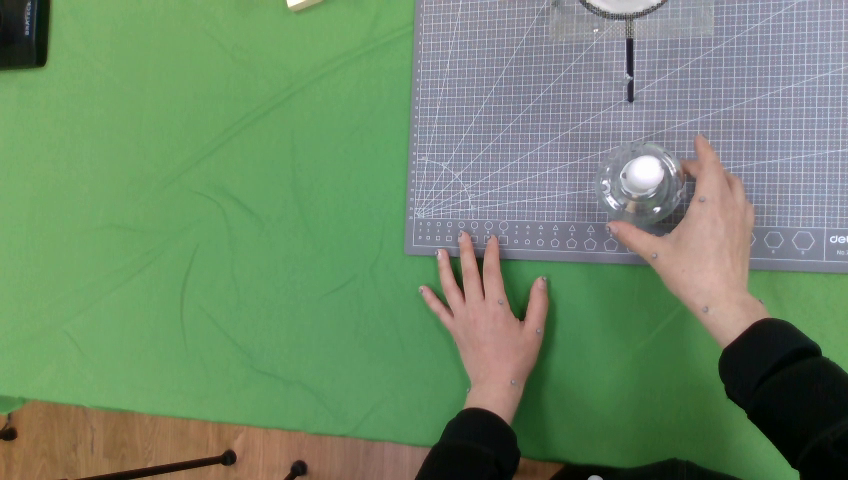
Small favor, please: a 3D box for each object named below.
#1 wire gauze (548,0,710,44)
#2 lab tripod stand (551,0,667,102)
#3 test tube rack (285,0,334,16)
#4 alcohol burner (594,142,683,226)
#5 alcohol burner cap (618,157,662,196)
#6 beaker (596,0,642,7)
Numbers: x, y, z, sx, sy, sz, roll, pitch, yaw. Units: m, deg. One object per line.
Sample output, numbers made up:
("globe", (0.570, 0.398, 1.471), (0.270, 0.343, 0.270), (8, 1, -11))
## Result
("wire gauze", (0.160, -0.216, 0.477), (0.125, 0.011, 0.121), (1, 91, 13))
("lab tripod stand", (0.178, -0.211, 0.540), (0.148, 0.132, 0.148), (0, 88, 14))
("test tube rack", (-0.059, -0.326, 0.640), (0.242, 0.085, 0.066), (-16, 83, 14))
("alcohol burner", (0.192, -0.052, 0.540), (0.077, 0.119, 0.078), (-1, 87, 14))
("alcohol burner cap", (0.182, -0.055, 0.505), (0.034, 0.048, 0.034), (0, 89, 11))
("beaker", (0.142, -0.219, 0.432), (0.083, 0.100, 0.074), (16, 92, 16))
